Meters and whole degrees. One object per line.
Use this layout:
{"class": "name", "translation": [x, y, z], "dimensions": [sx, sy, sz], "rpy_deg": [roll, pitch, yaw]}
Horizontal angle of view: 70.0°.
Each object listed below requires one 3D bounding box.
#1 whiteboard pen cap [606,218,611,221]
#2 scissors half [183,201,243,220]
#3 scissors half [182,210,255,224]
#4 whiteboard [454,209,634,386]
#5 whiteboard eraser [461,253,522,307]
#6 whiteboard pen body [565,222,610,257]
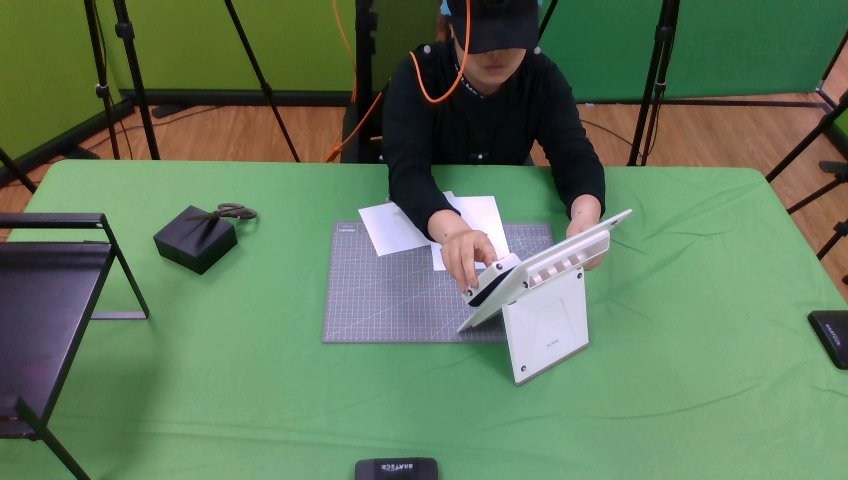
{"class": "whiteboard pen cap", "translation": [0.379, -0.031, 1.255], "dimensions": [0.033, 0.018, 0.018], "rpy_deg": [-33, 56, -30]}
{"class": "scissors half", "translation": [-0.405, -0.054, 1.163], "dimensions": [0.040, 0.013, 0.175], "rpy_deg": [28, 18, 7]}
{"class": "scissors half", "translation": [-0.389, -0.043, 1.158], "dimensions": [0.040, 0.013, 0.175], "rpy_deg": [40, 21, 23]}
{"class": "whiteboard", "translation": [0.211, 0.111, 0.954], "dimensions": [0.217, 0.306, 0.143], "rpy_deg": [-22, 72, -24]}
{"class": "whiteboard eraser", "translation": [0.106, 0.065, 0.937], "dimensions": [0.055, 0.113, 0.041], "rpy_deg": [-20, 71, -34]}
{"class": "whiteboard pen body", "translation": [0.335, -0.003, 1.228], "dimensions": [0.141, 0.017, 0.017], "rpy_deg": [-32, 56, -29]}
